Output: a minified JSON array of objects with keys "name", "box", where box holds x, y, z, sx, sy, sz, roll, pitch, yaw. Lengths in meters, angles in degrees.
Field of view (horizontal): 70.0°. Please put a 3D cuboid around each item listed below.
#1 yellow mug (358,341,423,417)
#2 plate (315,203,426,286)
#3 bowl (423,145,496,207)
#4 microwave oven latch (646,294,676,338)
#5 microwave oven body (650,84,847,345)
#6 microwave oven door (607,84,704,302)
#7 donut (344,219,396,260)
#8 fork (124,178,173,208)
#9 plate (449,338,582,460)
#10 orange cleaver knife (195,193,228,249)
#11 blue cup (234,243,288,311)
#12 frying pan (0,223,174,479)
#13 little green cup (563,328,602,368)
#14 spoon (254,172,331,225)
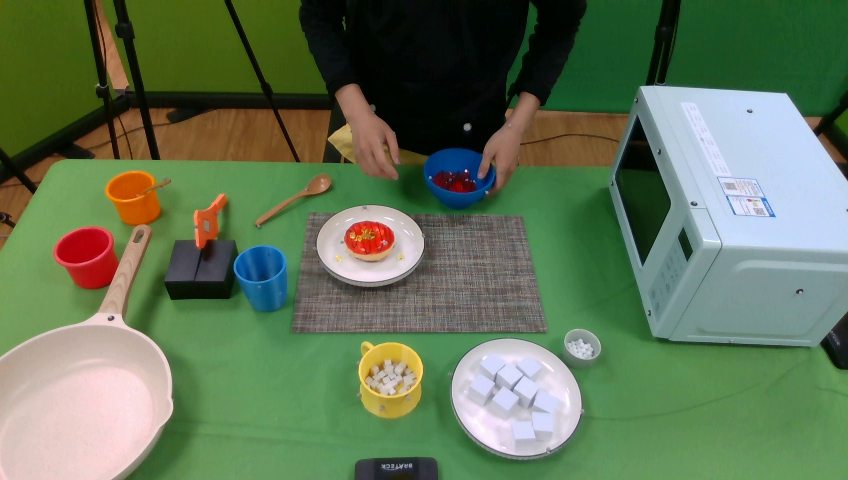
[{"name":"yellow mug","box":[-0.062,0.210,0.961,0.100,0.064,0.130,-29,54,-27]},{"name":"plate","box":[-0.101,0.012,1.159,0.209,0.038,0.208,2,46,-2]},{"name":"bowl","box":[0.073,-0.123,1.278,0.151,0.077,0.150,2,46,-2]},{"name":"microwave oven latch","box":[0.412,0.133,1.060,0.030,0.029,0.078,3,46,0]},{"name":"microwave oven body","box":[0.569,-0.054,1.116,0.326,0.261,0.439,2,46,-1]},{"name":"microwave oven door","box":[0.424,-0.096,1.138,0.039,0.245,0.353,3,46,-1]},{"name":"donut","box":[-0.103,-0.002,1.157,0.099,0.048,0.098,3,43,-2]},{"name":"fork","box":[-0.525,-0.090,1.153,0.207,0.019,0.028,-18,27,45]},{"name":"plate","box":[0.141,0.251,0.955,0.208,0.039,0.206,2,46,-2]},{"name":"orange cleaver knife","box":[-0.406,-0.041,1.163,0.012,0.077,0.210,0,18,-3]},{"name":"blue cup","box":[-0.276,0.072,1.052,0.093,0.101,0.092,1,48,-1]},{"name":"frying pan","box":[-0.504,0.169,0.941,0.307,0.103,0.485,5,54,-1]},{"name":"little green cup","box":[0.265,0.184,1.025,0.061,0.039,0.061,1,46,-1]},{"name":"spoon","box":[-0.272,-0.087,1.256,0.041,0.022,0.193,46,57,12]}]
